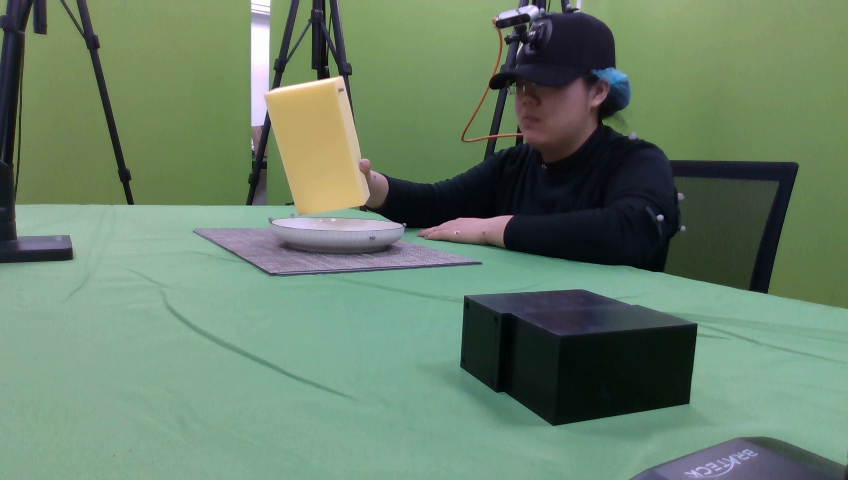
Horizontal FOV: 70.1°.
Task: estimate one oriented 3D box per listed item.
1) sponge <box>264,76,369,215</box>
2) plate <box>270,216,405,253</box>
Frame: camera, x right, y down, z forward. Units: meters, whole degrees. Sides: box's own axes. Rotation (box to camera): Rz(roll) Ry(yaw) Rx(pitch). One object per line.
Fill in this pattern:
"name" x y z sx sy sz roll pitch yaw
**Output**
"sponge" -0.172 -0.153 1.000 0.118 0.207 0.061 -7 22 9
"plate" -0.134 -0.009 0.946 0.208 0.039 0.207 3 7 0
